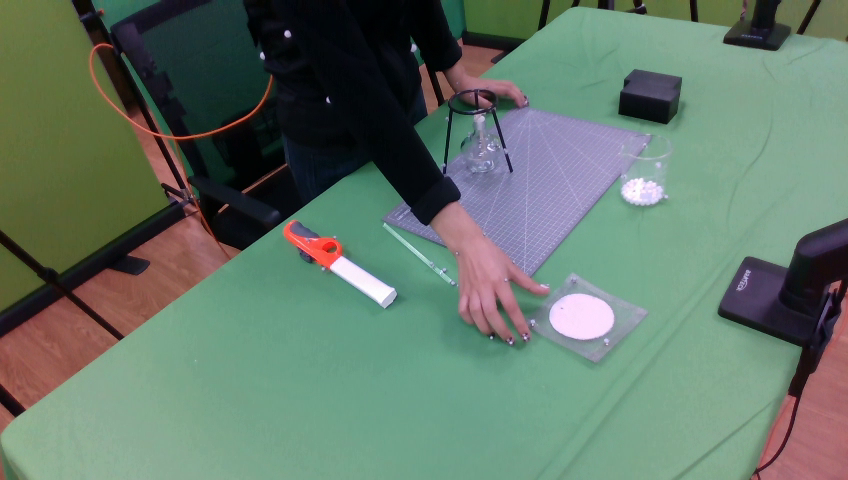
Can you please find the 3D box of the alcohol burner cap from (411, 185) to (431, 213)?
[{"bbox_3d":[-0.007,-0.074,1.050,0.034,0.048,0.033,-4,41,4],"label":"alcohol burner cap"}]

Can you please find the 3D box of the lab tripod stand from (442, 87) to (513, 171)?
[{"bbox_3d":[0.098,-0.200,1.108,0.148,0.132,0.147,-4,40,4],"label":"lab tripod stand"}]

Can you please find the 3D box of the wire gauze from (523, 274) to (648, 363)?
[{"bbox_3d":[0.221,0.105,0.828,0.125,0.011,0.120,-35,47,-30],"label":"wire gauze"}]

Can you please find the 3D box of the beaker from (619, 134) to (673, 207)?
[{"bbox_3d":[0.357,-0.110,0.986,0.084,0.101,0.073,-10,40,1],"label":"beaker"}]

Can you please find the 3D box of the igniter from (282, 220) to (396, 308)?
[{"bbox_3d":[-0.145,0.032,0.966,0.274,0.025,0.057,30,65,37],"label":"igniter"}]

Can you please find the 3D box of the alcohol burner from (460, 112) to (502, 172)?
[{"bbox_3d":[0.103,-0.186,1.105,0.078,0.119,0.077,-4,42,5],"label":"alcohol burner"}]

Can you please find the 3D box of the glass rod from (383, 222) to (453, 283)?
[{"bbox_3d":[-0.013,0.016,0.976,0.008,0.008,0.198,-29,44,-21],"label":"glass rod"}]
